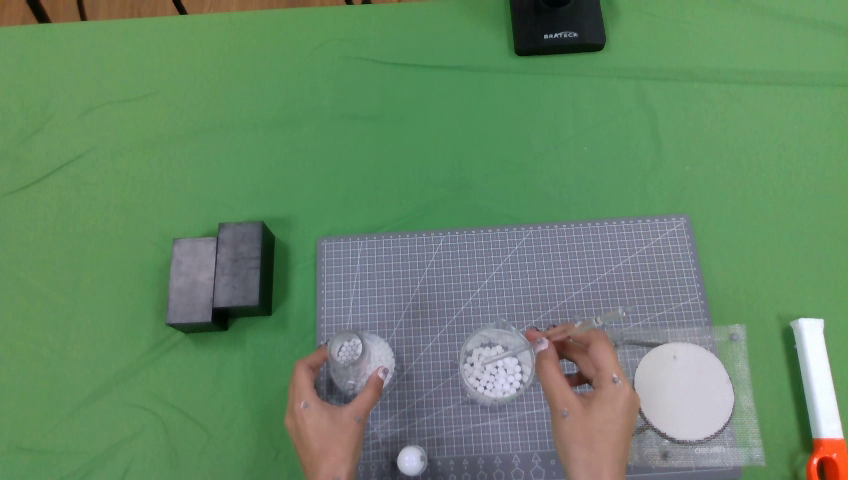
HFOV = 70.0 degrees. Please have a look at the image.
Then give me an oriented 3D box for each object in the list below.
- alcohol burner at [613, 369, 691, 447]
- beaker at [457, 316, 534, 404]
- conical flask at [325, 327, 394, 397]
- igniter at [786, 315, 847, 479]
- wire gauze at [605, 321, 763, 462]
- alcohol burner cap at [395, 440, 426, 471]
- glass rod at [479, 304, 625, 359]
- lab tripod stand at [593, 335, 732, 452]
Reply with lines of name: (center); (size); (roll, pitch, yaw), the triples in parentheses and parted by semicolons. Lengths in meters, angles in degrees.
alcohol burner: (0.232, 0.167, 0.607); (0.078, 0.120, 0.077); (-1, 71, 4)
beaker: (0.071, 0.130, 0.632); (0.074, 0.101, 0.083); (7, 71, 4)
conical flask: (-0.073, 0.120, 0.627); (0.075, 0.122, 0.075); (-1, 70, 2)
igniter: (0.419, 0.215, 0.633); (0.057, 0.025, 0.274); (4, 71, -8)
wire gauze: (0.229, 0.133, 0.536); (0.125, 0.011, 0.120); (-1, 72, 2)
alcohol burner cap: (-0.015, 0.226, 0.633); (0.034, 0.048, 0.033); (-1, 72, 3)
glass rod: (0.098, 0.081, 0.512); (0.008, 0.200, 0.008); (10, 66, -23)
lab tripod stand: (0.230, 0.157, 0.600); (0.148, 0.132, 0.147); (0, 73, 2)
